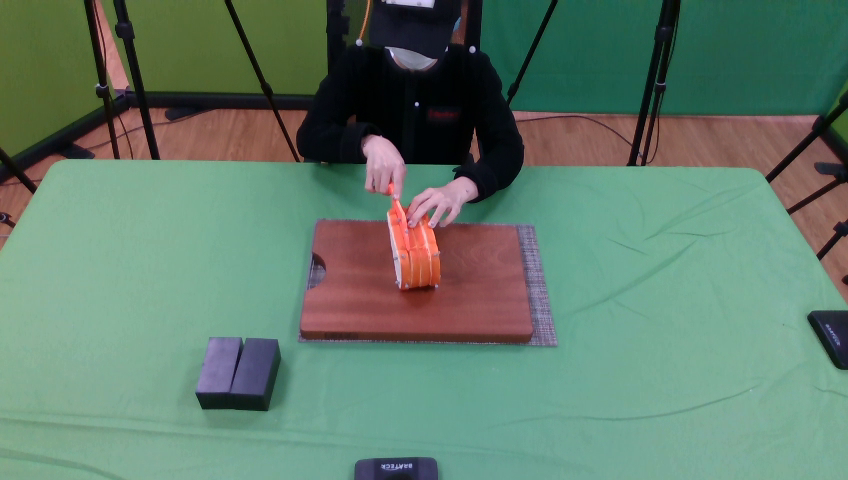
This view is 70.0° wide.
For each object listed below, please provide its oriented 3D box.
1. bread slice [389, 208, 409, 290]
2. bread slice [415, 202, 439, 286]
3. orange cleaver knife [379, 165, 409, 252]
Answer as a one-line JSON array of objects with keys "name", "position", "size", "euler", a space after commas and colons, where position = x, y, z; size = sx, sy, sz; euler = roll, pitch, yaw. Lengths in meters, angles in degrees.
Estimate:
[{"name": "bread slice", "position": [-0.045, 0.022, 1.078], "size": [0.019, 0.105, 0.130], "euler": [-7, 52, -7]}, {"name": "bread slice", "position": [0.005, 0.017, 1.090], "size": [0.018, 0.107, 0.133], "euler": [-9, 53, -7]}, {"name": "orange cleaver knife", "position": [-0.054, -0.060, 1.087], "size": [0.012, 0.077, 0.210], "euler": [-12, 39, -9]}]
